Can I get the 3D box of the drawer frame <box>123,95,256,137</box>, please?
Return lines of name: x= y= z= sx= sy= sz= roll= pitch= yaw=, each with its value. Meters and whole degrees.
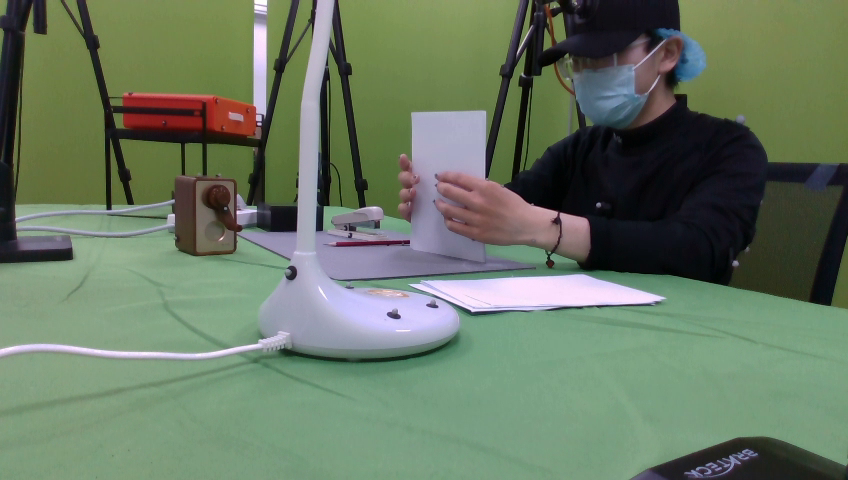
drawer frame: x=-0.524 y=-0.281 z=1.376 sx=0.213 sy=0.082 sz=0.202 roll=3 pitch=8 yaw=8

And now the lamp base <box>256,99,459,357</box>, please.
lamp base: x=-0.055 y=-0.013 z=0.463 sx=0.160 sy=0.180 sz=0.180 roll=6 pitch=11 yaw=27

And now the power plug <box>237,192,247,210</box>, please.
power plug: x=-0.386 y=-0.071 z=1.204 sx=0.072 sy=0.052 sz=0.035 roll=7 pitch=9 yaw=26

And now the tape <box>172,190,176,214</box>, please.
tape: x=-0.515 y=-0.087 z=1.388 sx=0.117 sy=0.052 sz=0.117 roll=3 pitch=7 yaw=0

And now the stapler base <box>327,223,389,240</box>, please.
stapler base: x=-0.117 y=-0.019 z=1.073 sx=0.130 sy=0.024 sz=0.041 roll=6 pitch=8 yaw=41

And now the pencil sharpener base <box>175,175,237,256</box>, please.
pencil sharpener base: x=-0.304 y=-0.035 z=0.847 sx=0.062 sy=0.107 sz=0.076 roll=-4 pitch=10 yaw=-42

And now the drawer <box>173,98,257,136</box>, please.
drawer: x=-0.518 y=-0.279 z=1.376 sx=0.211 sy=0.073 sz=0.195 roll=3 pitch=8 yaw=10

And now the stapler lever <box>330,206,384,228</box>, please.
stapler lever: x=-0.119 y=-0.043 z=1.070 sx=0.117 sy=0.040 sz=0.027 roll=7 pitch=9 yaw=41

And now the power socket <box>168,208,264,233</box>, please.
power socket: x=-0.381 y=-0.038 z=1.129 sx=0.072 sy=0.032 sz=0.227 roll=4 pitch=8 yaw=17

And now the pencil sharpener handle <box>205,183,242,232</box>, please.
pencil sharpener handle: x=-0.265 y=-0.043 z=0.813 sx=0.036 sy=0.068 sz=0.030 roll=-32 pitch=28 yaw=-35

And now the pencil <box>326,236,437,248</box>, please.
pencil: x=-0.066 y=0.004 z=0.979 sx=0.195 sy=0.012 sz=0.012 roll=-4 pitch=9 yaw=-26
